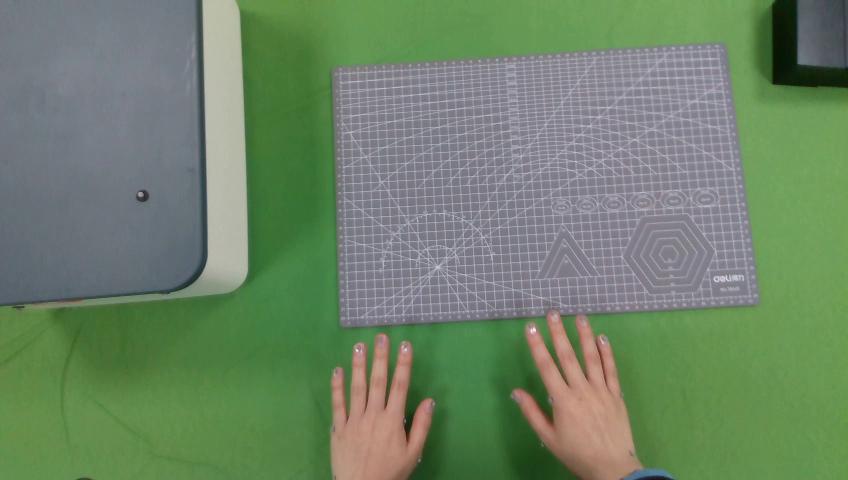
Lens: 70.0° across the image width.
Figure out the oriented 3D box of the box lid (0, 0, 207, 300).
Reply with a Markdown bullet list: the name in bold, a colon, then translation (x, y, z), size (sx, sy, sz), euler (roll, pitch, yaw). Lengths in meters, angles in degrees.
- **box lid**: translation (-0.329, -0.135, 0.539), size (0.263, 0.015, 0.370), euler (-5, 83, 1)

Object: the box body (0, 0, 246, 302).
- **box body**: translation (-0.327, -0.121, 0.612), size (0.254, 0.161, 0.362), euler (-5, 82, 0)
